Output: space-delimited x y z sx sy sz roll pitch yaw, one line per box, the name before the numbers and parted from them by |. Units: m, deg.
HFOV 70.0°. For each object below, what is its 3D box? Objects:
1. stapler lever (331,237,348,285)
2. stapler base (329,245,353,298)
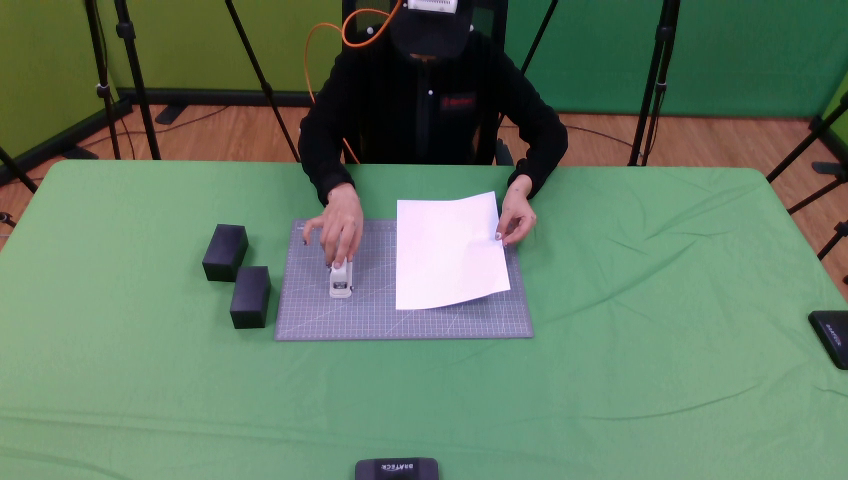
stapler lever | -0.155 0.032 1.116 0.027 0.040 0.117 1 44 -6
stapler base | -0.155 0.051 1.133 0.041 0.024 0.129 1 44 -6
